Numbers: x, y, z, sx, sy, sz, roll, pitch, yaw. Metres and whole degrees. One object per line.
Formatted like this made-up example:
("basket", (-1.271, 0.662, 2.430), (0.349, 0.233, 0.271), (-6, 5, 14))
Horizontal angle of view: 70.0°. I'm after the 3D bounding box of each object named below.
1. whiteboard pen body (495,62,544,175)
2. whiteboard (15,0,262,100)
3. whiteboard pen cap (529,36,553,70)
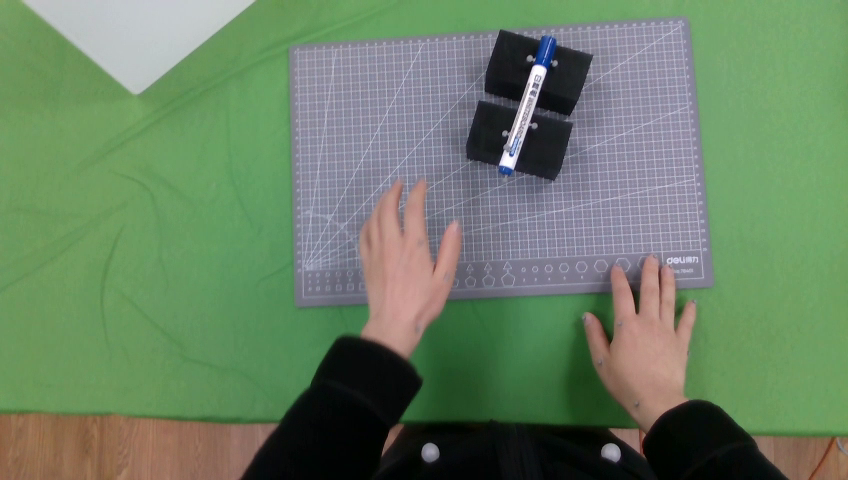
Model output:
("whiteboard pen body", (0.100, -0.133, 0.614), (0.017, 0.017, 0.140), (19, 87, 6))
("whiteboard", (-0.334, -0.335, 0.603), (0.217, 0.308, 0.142), (-38, 63, 0))
("whiteboard pen cap", (0.119, -0.189, 0.618), (0.018, 0.018, 0.033), (18, 88, 6))
